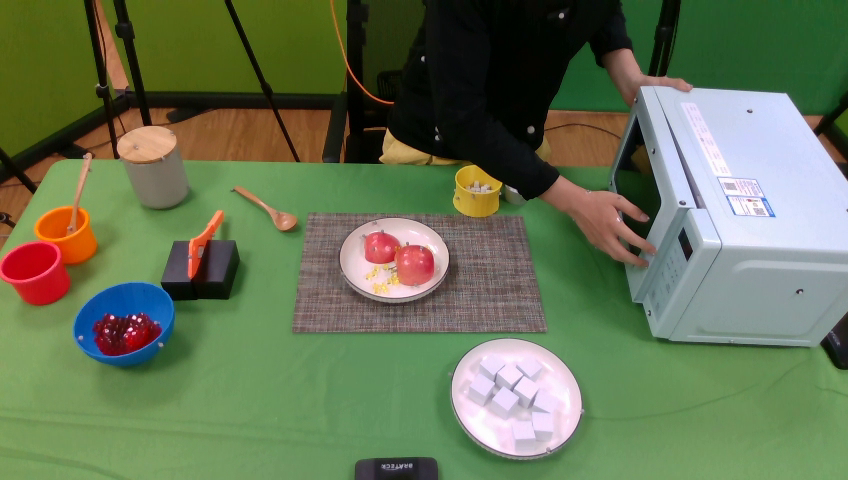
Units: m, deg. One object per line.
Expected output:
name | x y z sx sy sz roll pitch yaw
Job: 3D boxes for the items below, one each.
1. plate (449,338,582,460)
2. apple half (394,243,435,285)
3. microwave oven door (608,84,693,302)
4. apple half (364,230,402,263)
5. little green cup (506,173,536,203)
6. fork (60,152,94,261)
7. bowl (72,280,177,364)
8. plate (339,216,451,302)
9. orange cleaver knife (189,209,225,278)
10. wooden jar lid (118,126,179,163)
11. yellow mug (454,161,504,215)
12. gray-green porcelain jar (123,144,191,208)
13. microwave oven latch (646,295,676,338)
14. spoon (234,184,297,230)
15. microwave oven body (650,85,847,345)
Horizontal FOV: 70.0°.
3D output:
plate | 0.141 0.251 0.955 0.208 0.039 0.206 2 47 -2
apple half | -0.016 0.037 1.120 0.075 0.053 0.080 1 46 -6
microwave oven door | 0.415 -0.096 1.138 0.039 0.245 0.353 5 46 1
apple half | -0.079 0.004 1.159 0.081 0.033 0.081 3 50 -3
little green cup | 0.206 -0.111 1.301 0.061 0.039 0.061 3 46 -3
fork | -0.638 -0.063 1.120 0.028 0.018 0.207 12 90 7
bowl | -0.473 0.147 0.982 0.151 0.077 0.150 2 46 -2
plate | -0.054 0.038 1.138 0.209 0.038 0.208 2 46 -2
orange cleaver knife | -0.401 0.002 1.122 0.012 0.077 0.210 4 23 -4
wooden jar lid | -0.528 -0.181 1.167 0.108 0.021 0.107 3 48 -4
yellow mug | 0.117 -0.119 1.283 0.100 0.064 0.130 8 43 5
gray-green porcelain jar | -0.531 -0.137 1.214 0.106 0.127 0.105 2 47 -2
microwave oven latch | 0.413 0.133 1.060 0.030 0.029 0.078 4 46 1
spoon | -0.327 -0.073 1.240 0.193 0.022 0.041 34 70 25
microwave oven body | 0.569 -0.054 1.116 0.326 0.261 0.439 2 46 -1
